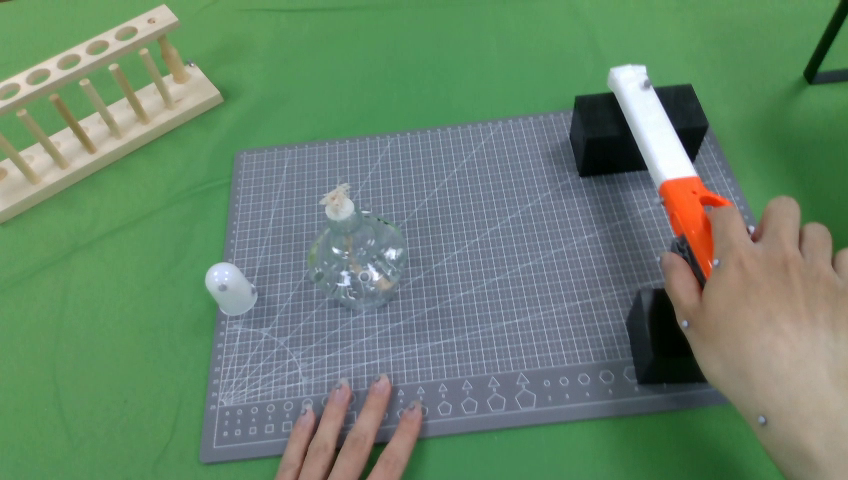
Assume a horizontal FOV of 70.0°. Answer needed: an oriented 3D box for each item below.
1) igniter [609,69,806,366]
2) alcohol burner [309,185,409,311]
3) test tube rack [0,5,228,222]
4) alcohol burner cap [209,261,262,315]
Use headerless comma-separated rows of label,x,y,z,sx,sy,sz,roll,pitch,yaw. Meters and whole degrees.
igniter,0.197,-0.032,0.448,0.057,0.025,0.273,-9,54,-2
alcohol burner,-0.052,0.002,0.455,0.078,0.120,0.077,-3,54,5
test tube rack,-0.325,-0.125,0.587,0.242,0.086,0.066,-34,60,-16
alcohol burner cap,-0.153,0.036,0.486,0.034,0.048,0.033,-3,57,5
